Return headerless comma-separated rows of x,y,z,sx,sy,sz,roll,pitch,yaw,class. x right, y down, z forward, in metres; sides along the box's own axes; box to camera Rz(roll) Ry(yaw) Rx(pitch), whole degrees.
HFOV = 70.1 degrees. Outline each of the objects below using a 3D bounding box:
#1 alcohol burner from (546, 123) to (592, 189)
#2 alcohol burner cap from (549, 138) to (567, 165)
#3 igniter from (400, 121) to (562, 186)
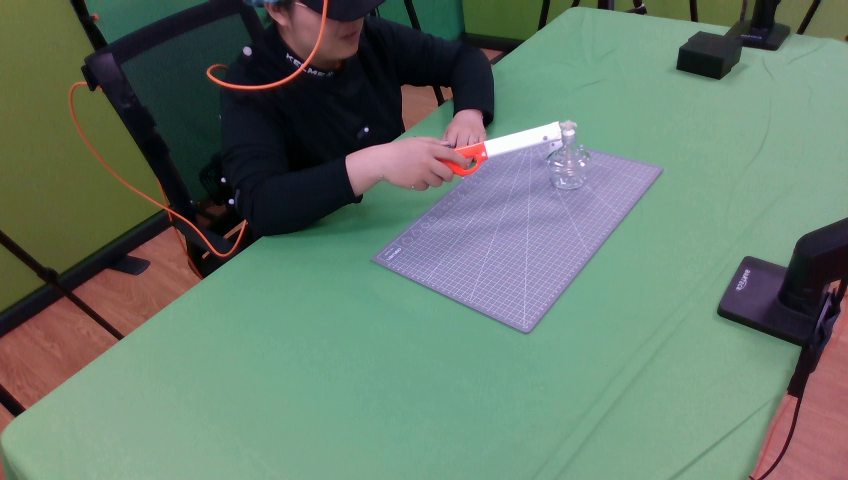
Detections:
0.248,-0.147,1.035,0.078,0.120,0.077,-7,41,6,alcohol burner
0.247,-0.166,1.114,0.034,0.048,0.033,-6,40,6,alcohol burner cap
0.091,-0.143,0.998,0.277,0.057,0.025,-16,-4,-1,igniter
